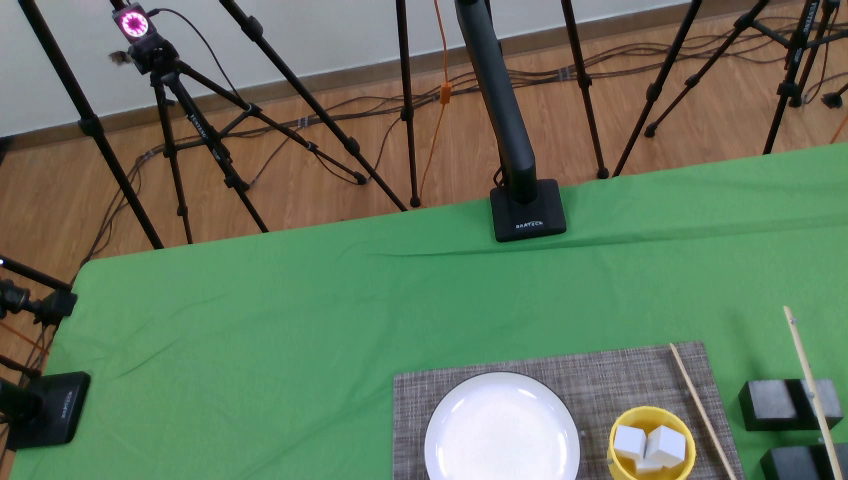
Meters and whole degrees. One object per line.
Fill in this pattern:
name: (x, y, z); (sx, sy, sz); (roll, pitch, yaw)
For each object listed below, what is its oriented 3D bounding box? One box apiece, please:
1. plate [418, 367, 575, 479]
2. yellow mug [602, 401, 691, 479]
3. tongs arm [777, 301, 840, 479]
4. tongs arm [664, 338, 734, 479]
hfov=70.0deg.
plate: (0.097, 0.275, 0.814); (0.207, 0.039, 0.205); (-6, 55, 9)
yellow mug: (0.269, 0.273, 0.755); (0.099, 0.064, 0.130); (21, 63, 24)
tongs arm: (0.448, 0.255, 0.700); (0.050, 0.027, 0.381); (-21, 56, 30)
tongs arm: (0.384, 0.287, 0.739); (0.028, 0.028, 0.383); (-30, 51, 19)
